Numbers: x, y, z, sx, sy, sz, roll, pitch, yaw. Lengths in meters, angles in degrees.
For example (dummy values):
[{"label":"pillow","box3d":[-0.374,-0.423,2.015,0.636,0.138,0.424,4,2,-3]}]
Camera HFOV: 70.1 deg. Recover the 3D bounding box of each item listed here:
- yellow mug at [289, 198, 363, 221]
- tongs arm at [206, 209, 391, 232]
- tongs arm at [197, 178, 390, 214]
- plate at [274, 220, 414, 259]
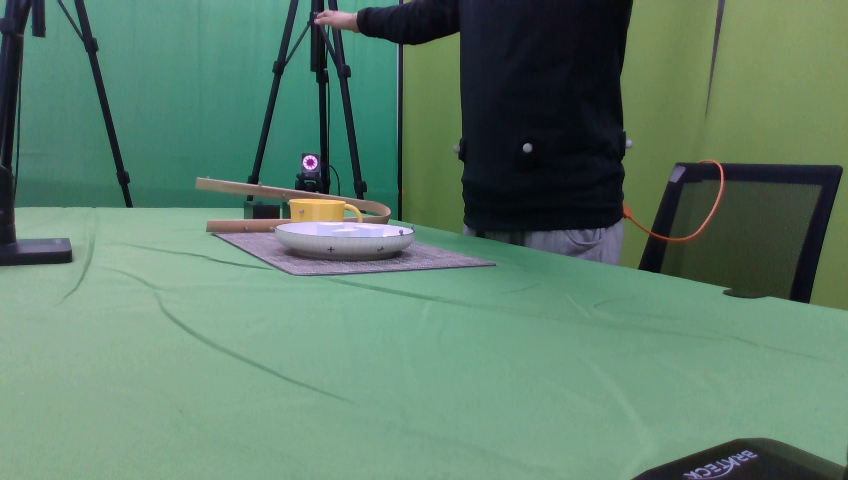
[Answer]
[{"label":"yellow mug","box3d":[-0.174,-0.039,1.072,0.131,0.064,0.100,3,7,1]},{"label":"tongs arm","box3d":[-0.224,-0.037,1.170,0.390,0.028,0.028,-4,31,-36]},{"label":"tongs arm","box3d":[-0.256,-0.083,1.230,0.387,0.026,0.050,5,30,-26]},{"label":"plate","box3d":[-0.118,-0.001,0.903,0.208,0.039,0.207,3,7,0]}]
